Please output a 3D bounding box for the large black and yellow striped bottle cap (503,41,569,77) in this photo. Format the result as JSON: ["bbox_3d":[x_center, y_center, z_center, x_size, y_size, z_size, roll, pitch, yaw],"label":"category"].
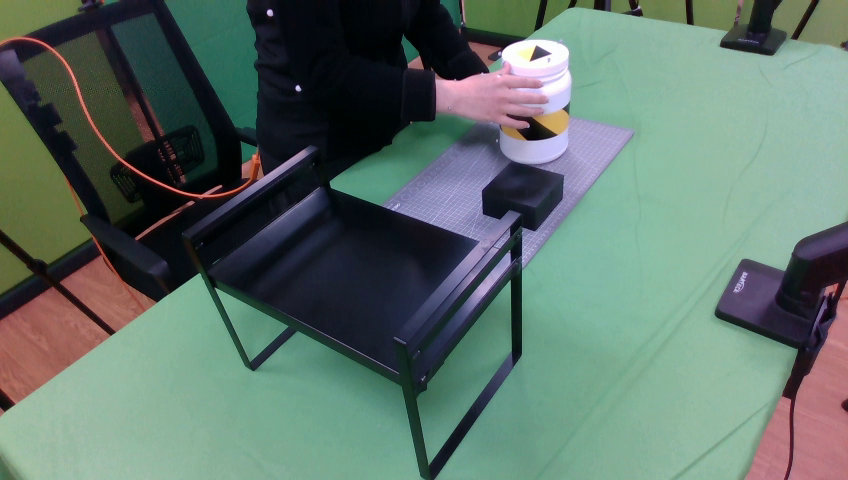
[{"bbox_3d":[0.194,-0.316,1.048,0.115,0.019,0.114,-4,39,4],"label":"large black and yellow striped bottle cap"}]

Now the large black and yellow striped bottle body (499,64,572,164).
[{"bbox_3d":[0.204,-0.249,1.107,0.131,0.185,0.130,-5,41,5],"label":"large black and yellow striped bottle body"}]
